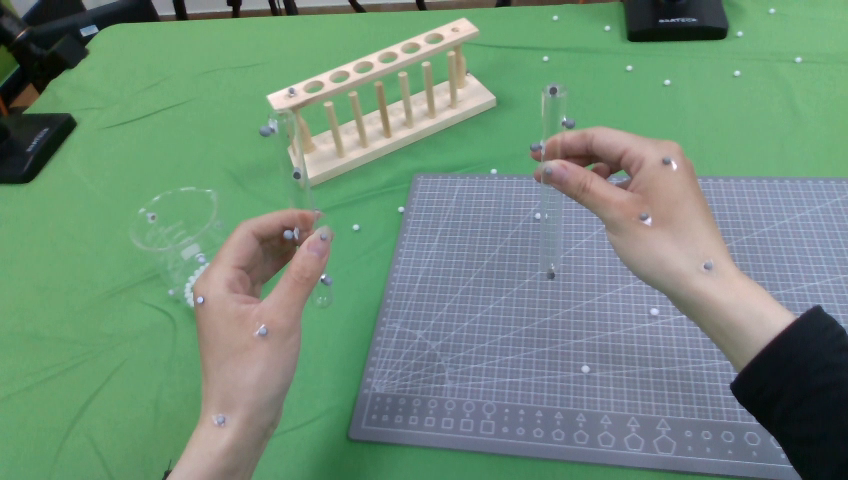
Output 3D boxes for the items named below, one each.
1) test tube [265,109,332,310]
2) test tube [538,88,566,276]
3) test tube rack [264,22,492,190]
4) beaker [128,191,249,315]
[{"bbox_3d":[-0.077,-0.012,0.385,0.017,0.152,0.017,-3,38,2],"label":"test tube"},{"bbox_3d":[0.087,-0.033,0.418,0.017,0.151,0.017,-5,39,4],"label":"test tube"},{"bbox_3d":[-0.045,-0.153,0.683,0.242,0.086,0.066,-26,50,-13],"label":"test tube rack"},{"bbox_3d":[-0.208,0.014,0.557,0.073,0.101,0.084,25,57,27],"label":"beaker"}]
